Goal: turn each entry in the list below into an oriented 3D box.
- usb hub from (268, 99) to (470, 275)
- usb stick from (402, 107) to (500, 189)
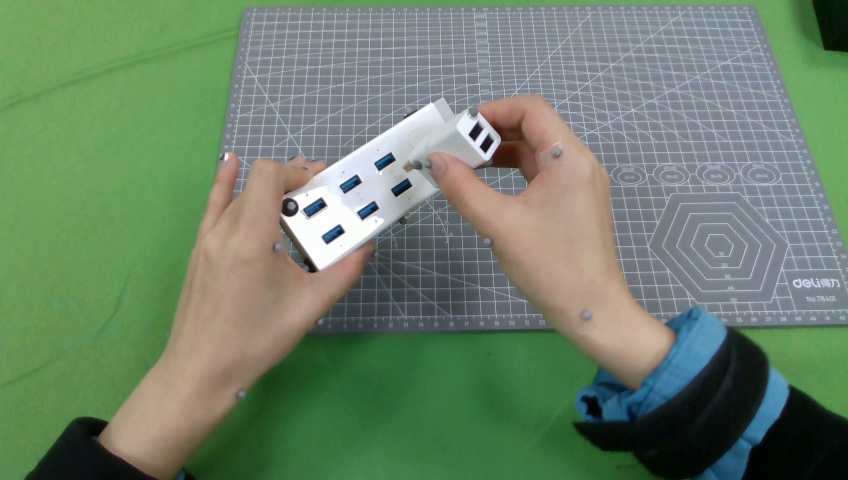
[{"bbox_3d":[-0.028,-0.034,0.365,0.125,0.025,0.049,-35,99,-18],"label":"usb hub"},{"bbox_3d":[0.011,-0.046,0.329,0.027,0.059,0.021,47,53,-17],"label":"usb stick"}]
